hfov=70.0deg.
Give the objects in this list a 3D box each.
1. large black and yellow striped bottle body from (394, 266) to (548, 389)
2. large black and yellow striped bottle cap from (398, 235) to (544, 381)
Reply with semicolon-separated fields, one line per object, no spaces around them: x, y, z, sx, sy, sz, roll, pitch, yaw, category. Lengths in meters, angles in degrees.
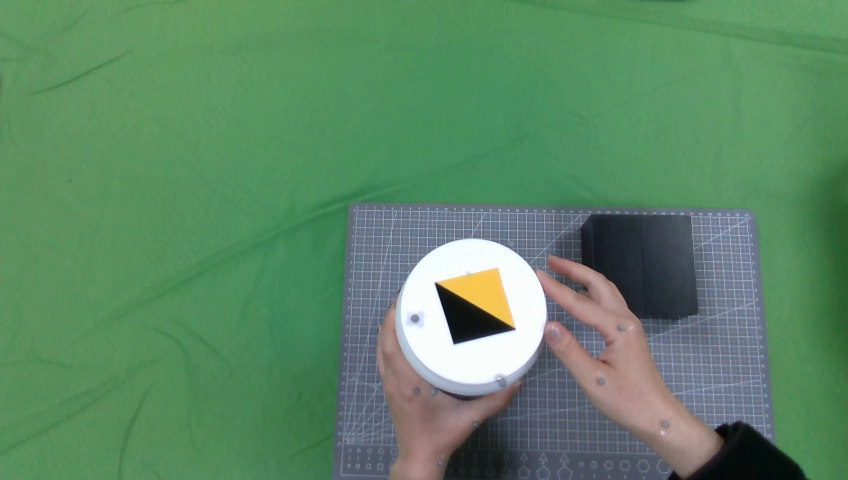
0.041;0.071;0.559;0.131;0.185;0.130;0;77;2;large black and yellow striped bottle body
0.036;0.052;0.475;0.115;0.019;0.114;0;77;1;large black and yellow striped bottle cap
